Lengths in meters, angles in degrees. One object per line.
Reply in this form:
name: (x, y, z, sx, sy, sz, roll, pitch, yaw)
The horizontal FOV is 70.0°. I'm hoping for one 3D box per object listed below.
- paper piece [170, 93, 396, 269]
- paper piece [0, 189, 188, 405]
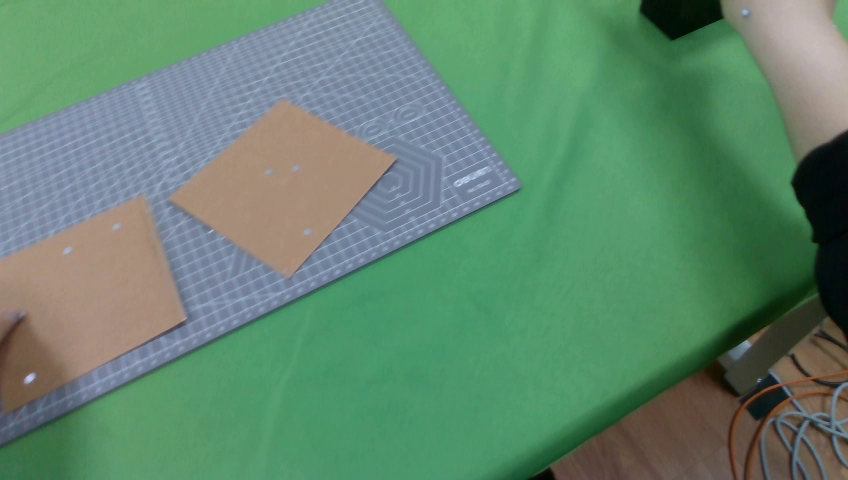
paper piece: (-0.116, -0.056, 0.499, 0.135, 0.004, 0.135, 30, 66, 21)
paper piece: (-0.259, 0.034, 0.459, 0.138, 0.009, 0.134, -28, 56, -9)
